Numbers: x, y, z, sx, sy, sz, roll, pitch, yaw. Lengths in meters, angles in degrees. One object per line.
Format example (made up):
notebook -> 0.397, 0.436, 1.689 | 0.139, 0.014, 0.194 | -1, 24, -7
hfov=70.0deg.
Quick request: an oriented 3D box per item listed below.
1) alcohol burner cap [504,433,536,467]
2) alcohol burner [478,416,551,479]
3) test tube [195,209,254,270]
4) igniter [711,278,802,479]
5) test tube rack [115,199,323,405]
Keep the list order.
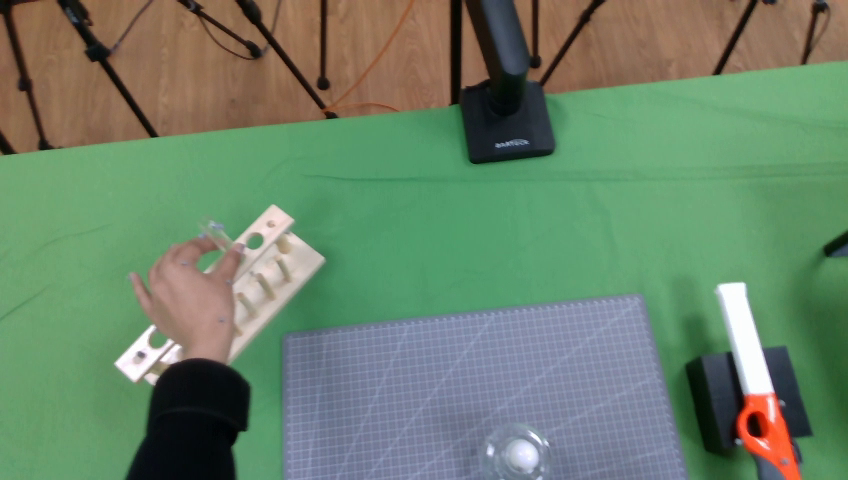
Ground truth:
alcohol burner cap -> 0.098, 0.209, 0.603 | 0.034, 0.048, 0.033 | -1, 71, 4
alcohol burner -> 0.097, 0.222, 0.636 | 0.078, 0.120, 0.077 | 0, 66, 0
test tube -> -0.217, 0.002, 0.670 | 0.017, 0.151, 0.017 | -1, 68, 2
igniter -> 0.359, 0.172, 0.653 | 0.057, 0.025, 0.274 | -4, 66, 1
test tube rack -> -0.231, 0.073, 0.716 | 0.066, 0.086, 0.242 | 37, 73, 14
